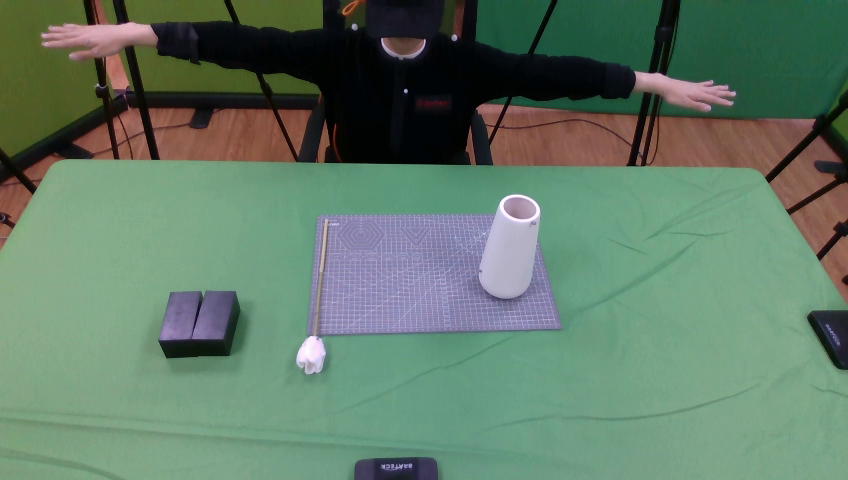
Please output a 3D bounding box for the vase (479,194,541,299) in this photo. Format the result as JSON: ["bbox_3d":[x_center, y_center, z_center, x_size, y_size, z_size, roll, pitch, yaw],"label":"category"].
[{"bbox_3d":[0.152,0.015,1.066,0.098,0.201,0.097,1,47,-1],"label":"vase"}]

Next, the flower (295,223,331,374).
[{"bbox_3d":[-0.190,0.087,1.104,0.044,0.038,0.359,28,35,-23],"label":"flower"}]
